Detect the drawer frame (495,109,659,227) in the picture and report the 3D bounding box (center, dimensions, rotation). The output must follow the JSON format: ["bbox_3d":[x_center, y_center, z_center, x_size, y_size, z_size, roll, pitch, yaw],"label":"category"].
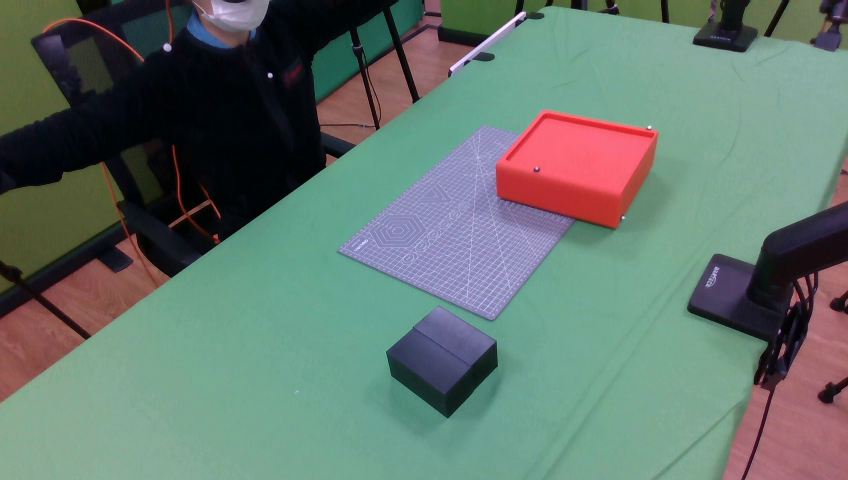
[{"bbox_3d":[0.260,-0.130,1.031,0.212,0.083,0.202,18,46,26],"label":"drawer frame"}]

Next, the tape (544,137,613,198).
[{"bbox_3d":[0.263,-0.124,1.034,0.117,0.053,0.116,-5,40,5],"label":"tape"}]

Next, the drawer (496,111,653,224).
[{"bbox_3d":[0.257,-0.130,1.032,0.210,0.073,0.195,18,46,26],"label":"drawer"}]
